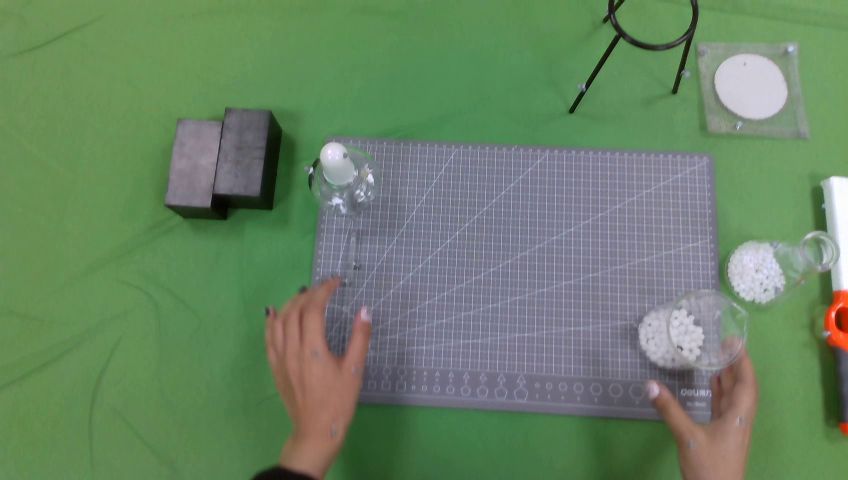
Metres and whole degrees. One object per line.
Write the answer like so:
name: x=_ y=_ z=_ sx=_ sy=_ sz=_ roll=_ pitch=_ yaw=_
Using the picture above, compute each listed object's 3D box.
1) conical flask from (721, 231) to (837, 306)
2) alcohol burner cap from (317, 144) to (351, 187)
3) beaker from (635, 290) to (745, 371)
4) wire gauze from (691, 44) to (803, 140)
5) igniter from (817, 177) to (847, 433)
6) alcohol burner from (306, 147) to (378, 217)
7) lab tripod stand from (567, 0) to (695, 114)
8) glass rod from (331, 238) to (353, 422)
conical flask: x=0.363 y=0.023 z=0.616 sx=0.075 sy=0.122 sz=0.075 roll=0 pitch=76 yaw=1
alcohol burner cap: x=-0.092 y=-0.078 z=0.607 sx=0.034 sy=0.048 sz=0.033 roll=1 pitch=70 yaw=-1
beaker: x=0.262 y=0.093 z=0.610 sx=0.084 sy=0.100 sz=0.073 roll=-20 pitch=77 yaw=-4
wire gauze: x=0.385 y=-0.178 z=0.720 sx=0.125 sy=0.011 sz=0.121 roll=2 pitch=77 yaw=-1
igniter: x=0.454 y=0.066 z=0.653 sx=0.057 sy=0.025 sz=0.275 roll=6 pitch=77 yaw=-9
alcohol burner: x=-0.090 y=-0.067 z=0.642 sx=0.078 sy=0.119 sz=0.077 roll=-1 pitch=77 yaw=3
lab tripod stand: x=0.224 y=-0.210 z=0.665 sx=0.148 sy=0.132 sz=0.147 roll=0 pitch=79 yaw=1
glass rod: x=-0.088 y=0.095 z=0.658 sx=0.008 sy=0.008 sz=0.199 roll=4 pitch=80 yaw=1
